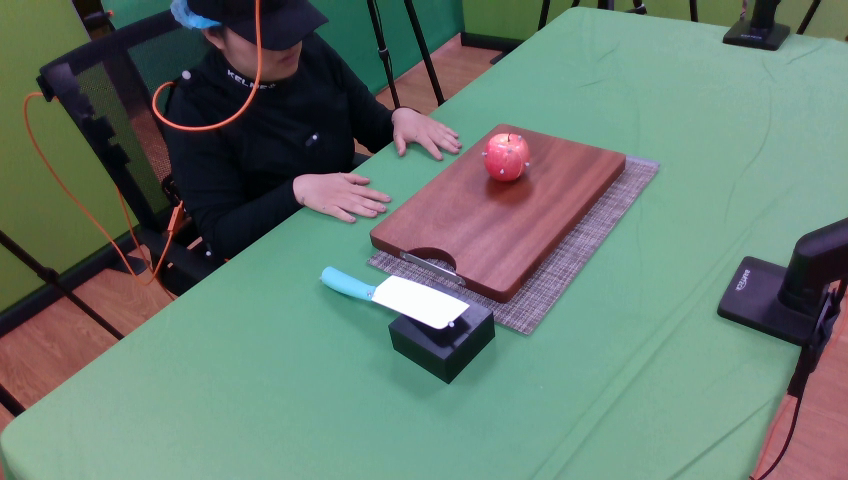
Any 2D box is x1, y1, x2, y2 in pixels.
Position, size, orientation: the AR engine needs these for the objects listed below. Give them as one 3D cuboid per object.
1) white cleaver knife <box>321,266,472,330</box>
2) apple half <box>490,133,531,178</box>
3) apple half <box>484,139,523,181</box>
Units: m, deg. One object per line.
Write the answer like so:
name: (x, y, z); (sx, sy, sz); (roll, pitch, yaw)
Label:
white cleaver knife: (-0.049, 0.075, 0.867); (0.284, 0.021, 0.066); (16, 42, 43)
apple half: (0.153, -0.150, 1.051); (0.080, 0.075, 0.053); (21, 44, 35)
apple half: (0.128, -0.129, 1.029); (0.080, 0.081, 0.033); (22, 45, 32)
